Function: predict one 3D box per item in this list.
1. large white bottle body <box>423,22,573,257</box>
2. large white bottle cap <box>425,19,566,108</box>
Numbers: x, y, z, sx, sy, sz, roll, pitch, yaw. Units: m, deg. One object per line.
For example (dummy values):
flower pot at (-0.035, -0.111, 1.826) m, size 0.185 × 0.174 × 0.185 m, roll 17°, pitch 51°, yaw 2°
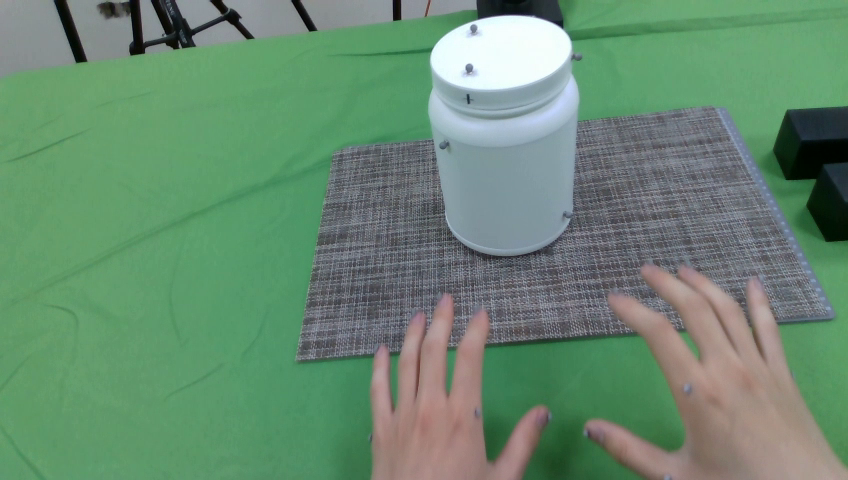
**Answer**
large white bottle body at (0.070, -0.089, 0.558) m, size 0.130 × 0.186 × 0.129 m, roll -5°, pitch 47°, yaw 6°
large white bottle cap at (0.058, -0.147, 0.497) m, size 0.115 × 0.018 × 0.113 m, roll -5°, pitch 46°, yaw 6°
